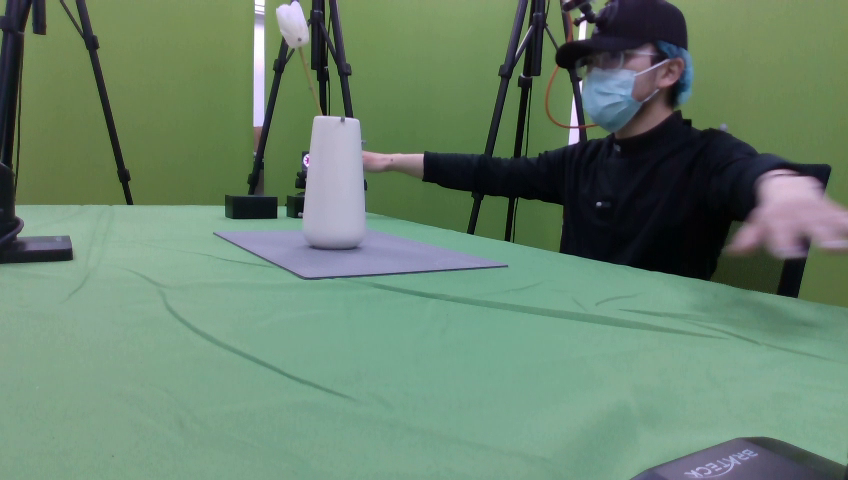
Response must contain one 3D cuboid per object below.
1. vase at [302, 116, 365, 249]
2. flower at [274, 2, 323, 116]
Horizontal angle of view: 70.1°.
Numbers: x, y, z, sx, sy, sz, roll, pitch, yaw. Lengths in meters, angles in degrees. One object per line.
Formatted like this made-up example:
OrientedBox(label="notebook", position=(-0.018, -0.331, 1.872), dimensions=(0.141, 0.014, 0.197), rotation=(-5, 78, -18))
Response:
OrientedBox(label="vase", position=(-0.139, -0.088, 0.930), dimensions=(0.098, 0.200, 0.098), rotation=(1, 9, 0))
OrientedBox(label="flower", position=(-0.151, -0.168, 0.913), dimensions=(0.038, 0.362, 0.044), rotation=(-7, 19, 28))
